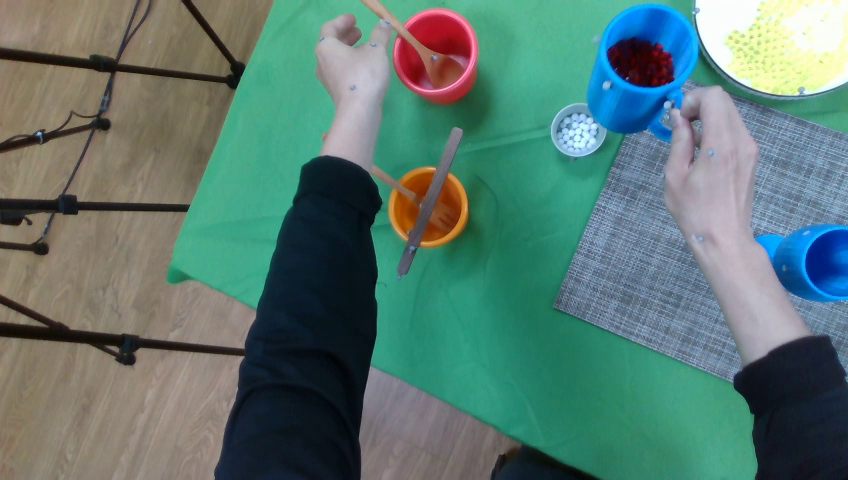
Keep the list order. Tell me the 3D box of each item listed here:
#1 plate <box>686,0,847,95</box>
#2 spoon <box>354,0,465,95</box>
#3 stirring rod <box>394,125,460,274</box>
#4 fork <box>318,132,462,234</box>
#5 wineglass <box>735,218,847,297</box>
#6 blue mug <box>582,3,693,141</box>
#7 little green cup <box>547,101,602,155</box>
[{"bbox_3d":[0.396,-0.260,0.666,0.209,0.038,0.209,0,90,11],"label":"plate"},{"bbox_3d":[-0.024,-0.233,0.690,0.196,0.021,0.041,34,98,-34],"label":"spoon"},{"bbox_3d":[0.003,-0.045,0.676,0.014,0.006,0.176,22,93,11],"label":"stirring rod"},{"bbox_3d":[-0.034,-0.063,0.687,0.209,0.018,0.028,32,102,-34],"label":"fork"},{"bbox_3d":[0.367,0.018,0.595,0.073,0.172,0.073,0,88,11],"label":"wineglass"},{"bbox_3d":[0.204,-0.143,0.565,0.082,0.106,0.116,-33,79,2],"label":"blue mug"},{"bbox_3d":[0.175,-0.127,0.705,0.061,0.039,0.061,0,89,11],"label":"little green cup"}]
